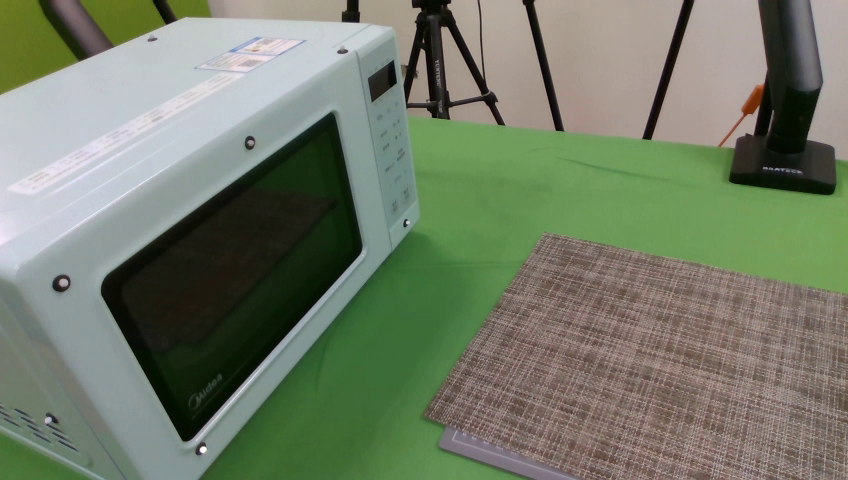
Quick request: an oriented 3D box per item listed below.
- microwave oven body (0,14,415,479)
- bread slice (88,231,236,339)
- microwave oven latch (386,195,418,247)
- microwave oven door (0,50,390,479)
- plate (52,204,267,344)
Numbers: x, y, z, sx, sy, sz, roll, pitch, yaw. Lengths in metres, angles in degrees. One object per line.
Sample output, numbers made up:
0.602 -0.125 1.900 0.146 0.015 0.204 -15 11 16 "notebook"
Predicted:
-0.256 -0.030 0.615 0.324 0.262 0.440 11 40 24 "microwave oven body"
-0.263 0.036 0.621 0.104 0.019 0.131 19 47 31 "bread slice"
-0.035 -0.025 0.735 0.030 0.030 0.079 12 40 25 "microwave oven latch"
-0.145 0.014 0.522 0.039 0.246 0.354 11 39 25 "microwave oven door"
-0.260 0.034 0.616 0.209 0.038 0.207 -6 35 4 "plate"
